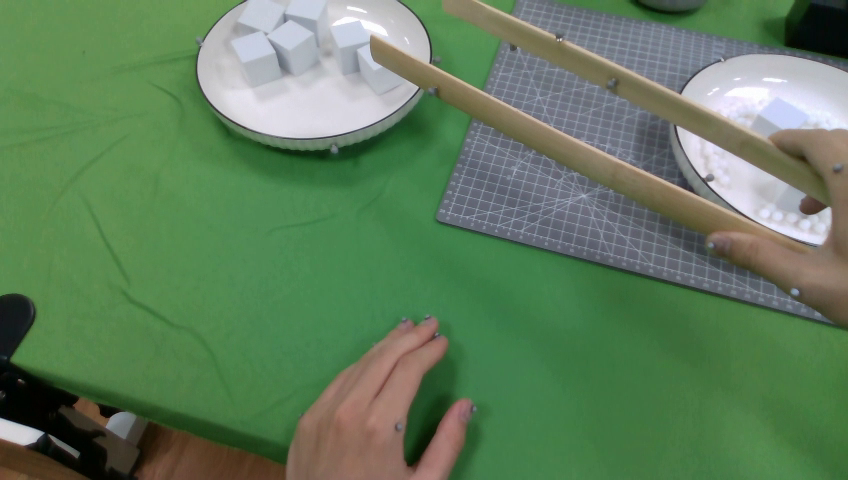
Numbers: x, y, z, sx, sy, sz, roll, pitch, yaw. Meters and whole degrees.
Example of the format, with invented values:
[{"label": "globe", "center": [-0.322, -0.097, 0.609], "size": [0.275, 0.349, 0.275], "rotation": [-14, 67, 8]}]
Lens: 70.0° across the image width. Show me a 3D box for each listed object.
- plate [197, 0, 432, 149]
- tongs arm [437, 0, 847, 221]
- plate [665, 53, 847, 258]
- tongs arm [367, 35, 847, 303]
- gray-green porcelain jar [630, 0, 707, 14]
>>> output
[{"label": "plate", "center": [-0.096, -0.158, 0.553], "size": [0.208, 0.039, 0.205], "rotation": [0, 58, 0]}, {"label": "tongs arm", "center": [0.140, -0.088, 0.413], "size": [0.381, 0.027, 0.050], "rotation": [34, 63, 25]}, {"label": "plate", "center": [0.301, -0.070, 0.499], "size": [0.209, 0.038, 0.207], "rotation": [0, 57, 0]}, {"label": "tongs arm", "center": [0.108, -0.058, 0.395], "size": [0.384, 0.028, 0.028], "rotation": [32, 58, 24]}, {"label": "gray-green porcelain jar", "center": [0.253, -0.300, 0.596], "size": [0.106, 0.127, 0.105], "rotation": [0, 57, 0]}]
